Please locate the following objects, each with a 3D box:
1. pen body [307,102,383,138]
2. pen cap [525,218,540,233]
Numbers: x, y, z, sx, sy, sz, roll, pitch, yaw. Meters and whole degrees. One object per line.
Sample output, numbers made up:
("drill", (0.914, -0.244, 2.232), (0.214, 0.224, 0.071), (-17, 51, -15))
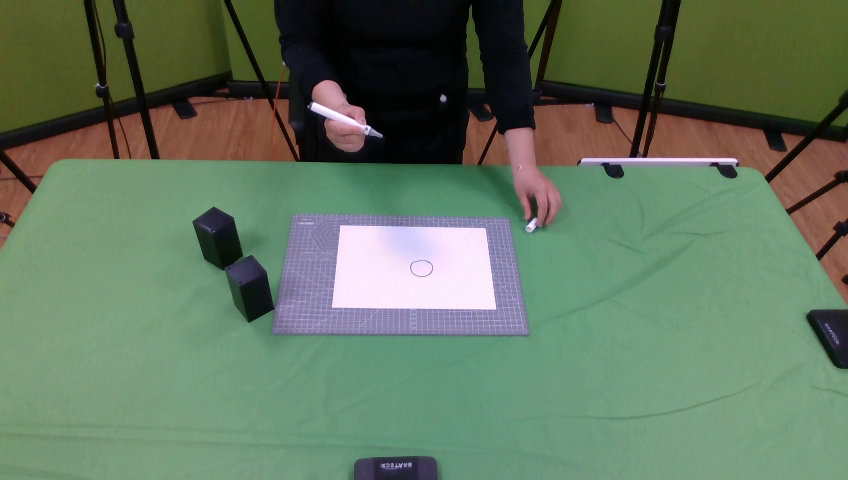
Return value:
("pen body", (-0.139, -0.213, 1.085), (0.144, 0.017, 0.017), (23, 47, -2))
("pen cap", (0.224, -0.031, 1.248), (0.017, 0.017, 0.038), (30, 51, 23))
